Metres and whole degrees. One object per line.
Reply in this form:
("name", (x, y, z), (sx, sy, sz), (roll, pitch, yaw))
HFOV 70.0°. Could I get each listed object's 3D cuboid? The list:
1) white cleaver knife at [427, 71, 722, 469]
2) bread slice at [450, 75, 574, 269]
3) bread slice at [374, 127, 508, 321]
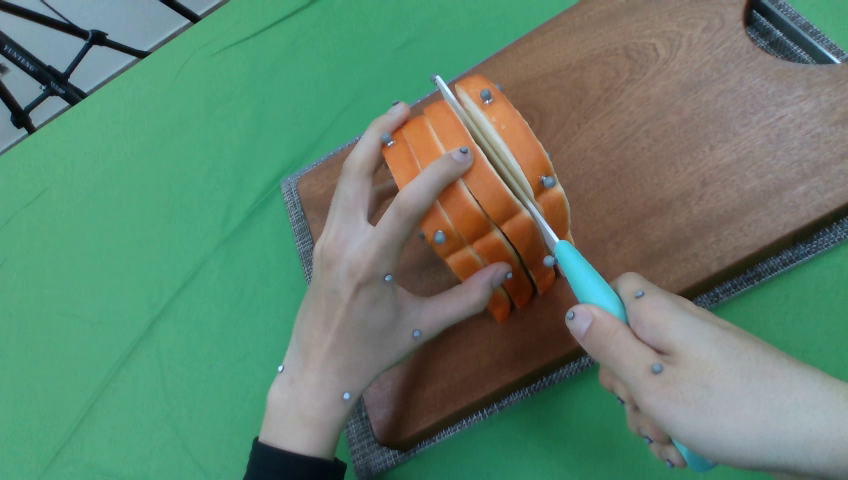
("white cleaver knife", (0.077, 0.001, 0.361), (0.021, 0.066, 0.283), (-33, 64, 6))
("bread slice", (0.058, -0.044, 0.389), (0.019, 0.133, 0.104), (-34, 57, 0))
("bread slice", (0.011, -0.015, 0.396), (0.018, 0.136, 0.106), (-32, 53, 8))
